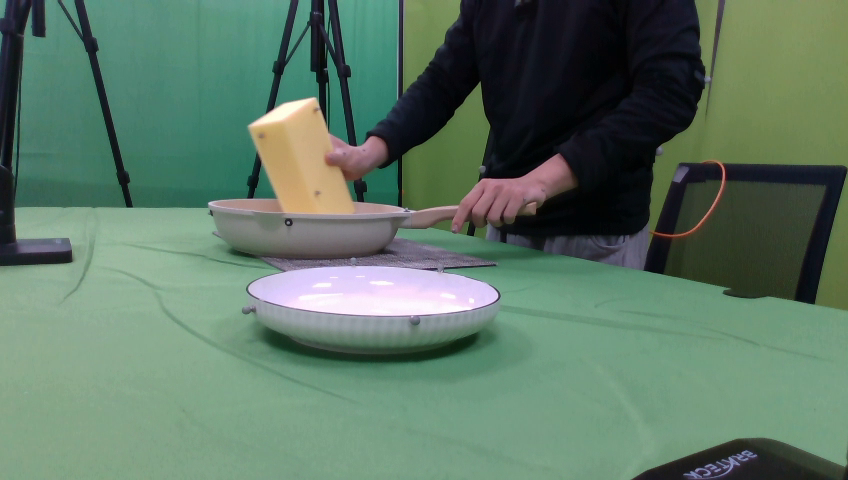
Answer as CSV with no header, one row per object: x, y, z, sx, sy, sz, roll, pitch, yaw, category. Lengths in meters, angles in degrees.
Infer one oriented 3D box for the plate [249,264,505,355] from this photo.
-0.038,0.056,0.504,0.208,0.039,0.207,2,7,0,plate

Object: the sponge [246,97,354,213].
-0.191,-0.109,0.968,0.061,0.207,0.118,-7,28,21,sponge

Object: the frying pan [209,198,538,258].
-0.075,-0.033,0.912,0.487,0.102,0.307,-5,7,12,frying pan
